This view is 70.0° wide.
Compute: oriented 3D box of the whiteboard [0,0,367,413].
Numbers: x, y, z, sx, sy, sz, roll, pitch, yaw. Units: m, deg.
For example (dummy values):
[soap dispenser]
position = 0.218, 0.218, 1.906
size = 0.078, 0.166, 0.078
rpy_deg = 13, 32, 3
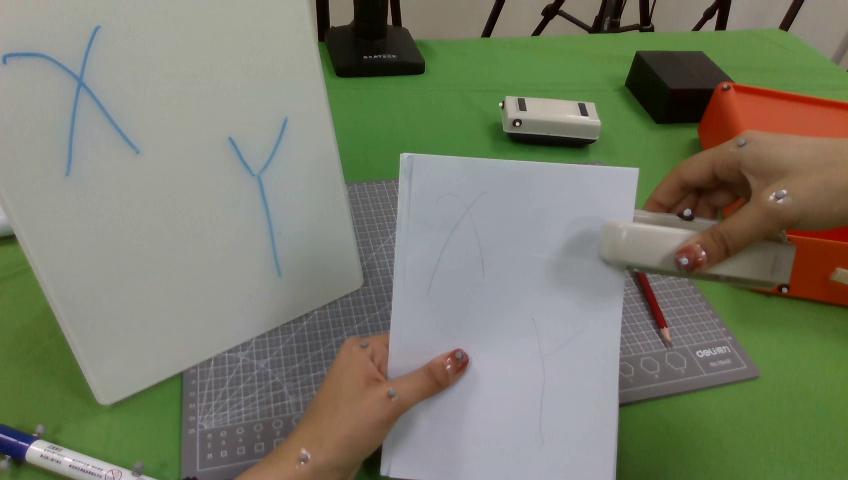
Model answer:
[whiteboard]
position = -0.192, -0.074, 0.451
size = 0.217, 0.308, 0.142
rpy_deg = -24, 32, -28

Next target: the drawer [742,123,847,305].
[drawer]
position = 0.414, -0.030, 0.614
size = 0.194, 0.074, 0.210
rpy_deg = 9, 43, 3

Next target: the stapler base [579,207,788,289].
[stapler base]
position = 0.168, 0.007, 0.387
size = 0.130, 0.041, 0.024
rpy_deg = 7, 12, 1

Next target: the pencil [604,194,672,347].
[pencil]
position = 0.202, 0.022, 0.576
size = 0.012, 0.012, 0.192
rpy_deg = 1, 45, -7

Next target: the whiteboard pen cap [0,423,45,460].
[whiteboard pen cap]
position = -0.265, 0.131, 0.392
size = 0.033, 0.018, 0.018
rpy_deg = 14, 44, 10

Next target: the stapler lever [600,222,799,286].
[stapler lever]
position = 0.167, 0.009, 0.367
size = 0.118, 0.027, 0.040
rpy_deg = 8, 12, 6

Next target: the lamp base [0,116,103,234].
[lamp base]
position = -0.395, -0.121, 0.520
size = 0.178, 0.182, 0.160
rpy_deg = 21, 45, 18

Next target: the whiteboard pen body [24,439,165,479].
[whiteboard pen body]
position = -0.209, 0.146, 0.384
size = 0.140, 0.017, 0.017
rpy_deg = 14, 44, 8

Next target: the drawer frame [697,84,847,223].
[drawer frame]
position = 0.423, -0.073, 0.658
size = 0.201, 0.083, 0.211
rpy_deg = 9, 43, 2

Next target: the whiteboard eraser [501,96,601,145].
[whiteboard eraser]
position = 0.150, -0.141, 0.721
size = 0.113, 0.042, 0.055
rpy_deg = 5, 45, -3
